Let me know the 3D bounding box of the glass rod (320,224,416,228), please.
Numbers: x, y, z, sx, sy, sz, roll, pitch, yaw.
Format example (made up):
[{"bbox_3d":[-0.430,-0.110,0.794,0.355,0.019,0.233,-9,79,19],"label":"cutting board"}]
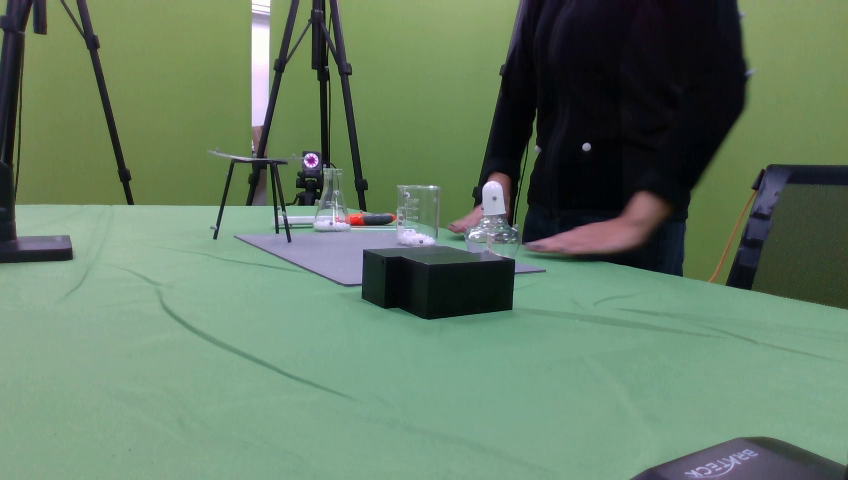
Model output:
[{"bbox_3d":[-0.113,-0.029,1.236,0.200,0.008,0.008,-1,7,-18],"label":"glass rod"}]

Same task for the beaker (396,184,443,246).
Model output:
[{"bbox_3d":[-0.011,-0.043,1.004,0.083,0.100,0.074,8,9,39],"label":"beaker"}]

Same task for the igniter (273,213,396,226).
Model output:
[{"bbox_3d":[-0.179,-0.044,1.258,0.278,0.025,0.057,-3,-1,-39],"label":"igniter"}]

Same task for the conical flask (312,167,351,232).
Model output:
[{"bbox_3d":[-0.176,-0.078,1.162,0.075,0.122,0.075,3,7,0],"label":"conical flask"}]

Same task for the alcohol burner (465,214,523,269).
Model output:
[{"bbox_3d":[0.094,-0.022,0.815,0.078,0.119,0.078,0,7,0],"label":"alcohol burner"}]

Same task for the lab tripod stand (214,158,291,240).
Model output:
[{"bbox_3d":[-0.268,-0.068,1.002,0.148,0.131,0.148,3,6,0],"label":"lab tripod stand"}]

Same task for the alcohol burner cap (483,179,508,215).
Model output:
[{"bbox_3d":[0.094,-0.057,0.810,0.034,0.048,0.034,-8,6,1],"label":"alcohol burner cap"}]

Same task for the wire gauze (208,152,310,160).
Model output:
[{"bbox_3d":[-0.270,-0.135,0.993,0.124,0.011,0.122,8,8,41],"label":"wire gauze"}]
